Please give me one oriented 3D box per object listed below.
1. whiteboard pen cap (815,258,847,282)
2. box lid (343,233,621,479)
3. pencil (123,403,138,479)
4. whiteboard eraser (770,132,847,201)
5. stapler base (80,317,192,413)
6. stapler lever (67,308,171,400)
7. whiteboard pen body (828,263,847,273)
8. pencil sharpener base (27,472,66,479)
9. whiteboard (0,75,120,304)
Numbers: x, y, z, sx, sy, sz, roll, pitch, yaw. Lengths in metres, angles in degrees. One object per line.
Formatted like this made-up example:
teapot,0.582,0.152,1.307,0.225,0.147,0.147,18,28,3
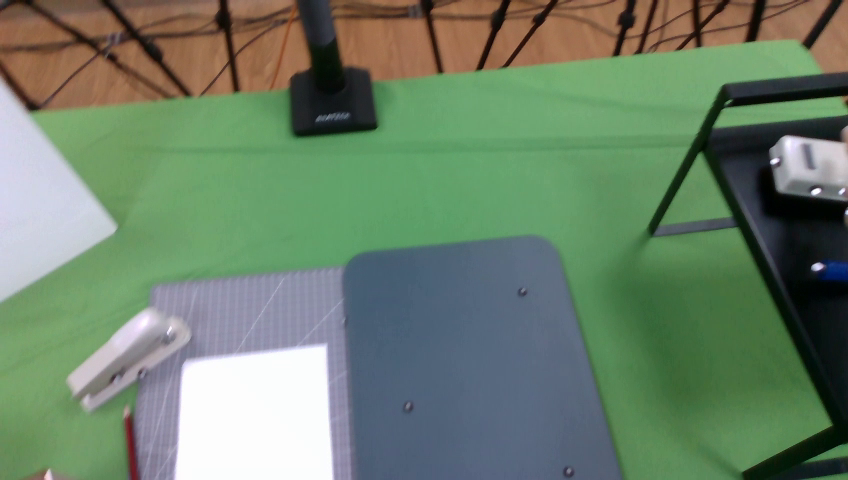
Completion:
whiteboard pen cap,0.351,0.026,0.511,0.033,0.018,0.018,13,58,-2
box lid,0.052,0.155,0.653,0.263,0.015,0.368,-6,59,-5
pencil,-0.283,0.248,0.594,0.012,0.012,0.192,-18,60,-10
whiteboard eraser,0.381,-0.064,0.557,0.112,0.042,0.055,8,57,5
stapler base,-0.319,0.130,0.659,0.130,0.024,0.041,-38,61,-17
stapler lever,-0.322,0.117,0.637,0.118,0.040,0.026,-38,61,-18
whiteboard pen body,0.411,0.029,0.511,0.141,0.017,0.017,6,58,-1
pencil sharpener base,-0.338,0.258,0.533,0.077,0.108,0.061,-26,62,-14
whiteboard,-0.537,-0.089,0.666,0.217,0.309,0.142,-36,46,-20
